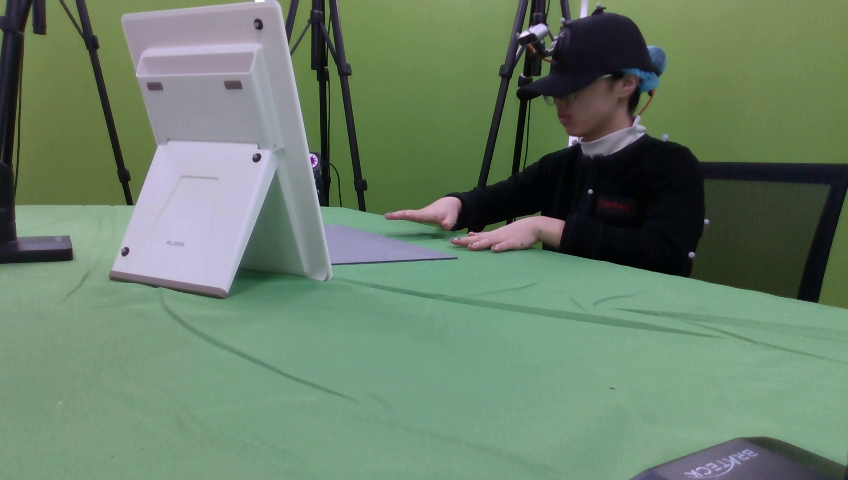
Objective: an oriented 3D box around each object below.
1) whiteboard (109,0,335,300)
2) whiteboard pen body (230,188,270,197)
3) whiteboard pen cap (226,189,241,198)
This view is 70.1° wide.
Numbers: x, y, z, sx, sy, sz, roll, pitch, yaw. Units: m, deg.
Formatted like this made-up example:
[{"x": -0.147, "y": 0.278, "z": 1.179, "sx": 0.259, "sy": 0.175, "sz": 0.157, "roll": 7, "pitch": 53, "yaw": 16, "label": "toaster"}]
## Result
[{"x": -0.247, "y": -0.072, "z": 0.624, "sx": 0.216, "sy": 0.305, "sz": 0.144, "roll": 6, "pitch": 28, "yaw": 26, "label": "whiteboard"}, {"x": -0.378, "y": -0.103, "z": 1.313, "sx": 0.017, "sy": 0.017, "sz": 0.141, "roll": 4, "pitch": 8, "yaw": 18, "label": "whiteboard pen body"}, {"x": -0.396, "y": -0.096, "z": 1.258, "sx": 0.018, "sy": 0.018, "sz": 0.033, "roll": 4, "pitch": 5, "yaw": 17, "label": "whiteboard pen cap"}]
